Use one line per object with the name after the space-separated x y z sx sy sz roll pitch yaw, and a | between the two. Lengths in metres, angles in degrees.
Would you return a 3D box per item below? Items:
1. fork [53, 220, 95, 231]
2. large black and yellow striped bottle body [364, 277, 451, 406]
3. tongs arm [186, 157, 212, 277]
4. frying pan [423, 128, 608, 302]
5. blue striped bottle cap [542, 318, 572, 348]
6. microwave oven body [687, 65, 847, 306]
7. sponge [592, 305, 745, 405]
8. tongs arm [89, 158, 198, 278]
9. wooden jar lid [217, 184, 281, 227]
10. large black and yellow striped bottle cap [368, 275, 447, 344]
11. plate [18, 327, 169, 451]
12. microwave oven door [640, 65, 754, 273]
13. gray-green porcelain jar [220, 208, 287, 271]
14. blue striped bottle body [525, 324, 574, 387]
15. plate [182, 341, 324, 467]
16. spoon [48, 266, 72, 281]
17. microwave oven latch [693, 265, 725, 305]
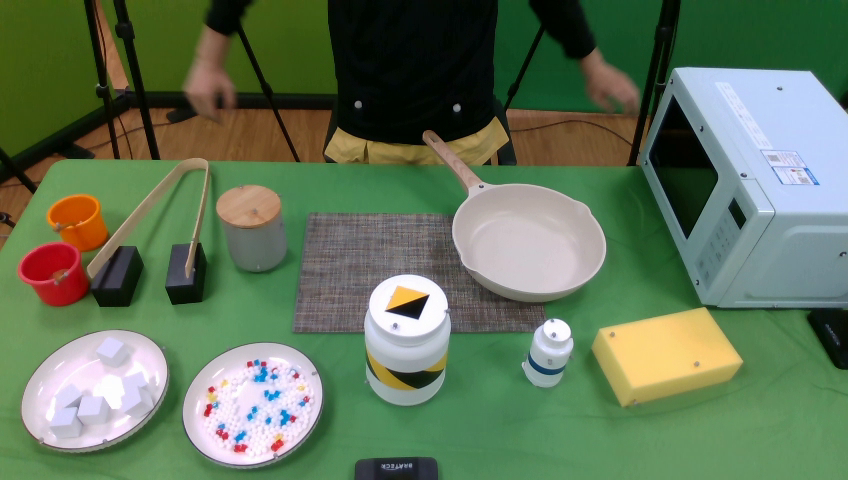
-0.627 -0.027 1.086 0.028 0.018 0.207 0 2 -15 | fork
-0.026 0.155 0.933 0.131 0.185 0.130 2 47 -2 | large black and yellow striped bottle body
-0.445 -0.058 1.168 0.051 0.026 0.382 -5 37 -6 | tongs arm
0.142 -0.069 1.208 0.307 0.103 0.485 -23 60 -25 | frying pan
0.205 0.143 0.933 0.044 0.021 0.044 0 47 0 | blue striped bottle cap
0.669 -0.111 1.176 0.326 0.261 0.439 0 46 -3 | microwave oven body
0.405 0.190 1.015 0.207 0.061 0.117 -10 48 -13 | sponge
-0.529 -0.057 1.164 0.028 0.028 0.385 1 36 8 | tongs arm
-0.307 -0.057 1.067 0.108 0.021 0.107 5 44 -4 | wooden jar lid
-0.024 0.098 0.871 0.115 0.019 0.114 2 45 -2 | large black and yellow striped bottle cap
-0.498 0.229 0.929 0.208 0.039 0.206 3 47 -2 | plate
0.523 -0.147 1.193 0.039 0.245 0.353 0 47 -3 | microwave oven door
-0.310 -0.014 1.113 0.106 0.127 0.105 2 46 -2 | gray-green porcelain jar
0.202 0.179 0.970 0.063 0.121 0.062 2 46 -2 | blue striped bottle body
-0.257 0.250 0.927 0.209 0.038 0.208 3 46 -2 | plate
-0.609 0.057 1.010 0.041 0.022 0.193 -32 13 -27 | spoon
0.523 0.082 1.116 0.030 0.029 0.078 2 46 -1 | microwave oven latch
